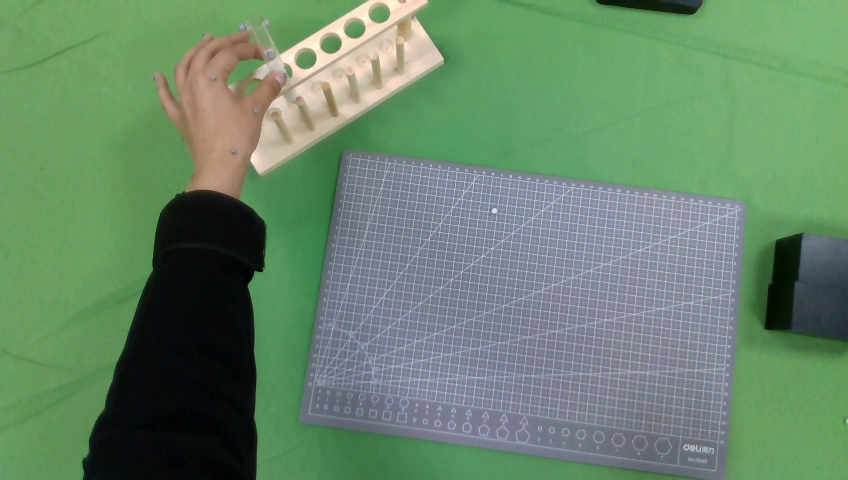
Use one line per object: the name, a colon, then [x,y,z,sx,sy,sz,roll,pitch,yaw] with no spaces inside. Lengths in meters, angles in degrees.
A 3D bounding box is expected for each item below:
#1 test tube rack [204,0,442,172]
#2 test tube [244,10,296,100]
test tube rack: [-0.099,-0.174,0.643,0.242,0.085,0.066,-33,82,-4]
test tube: [-0.145,-0.172,0.583,0.017,0.151,0.017,0,78,0]
